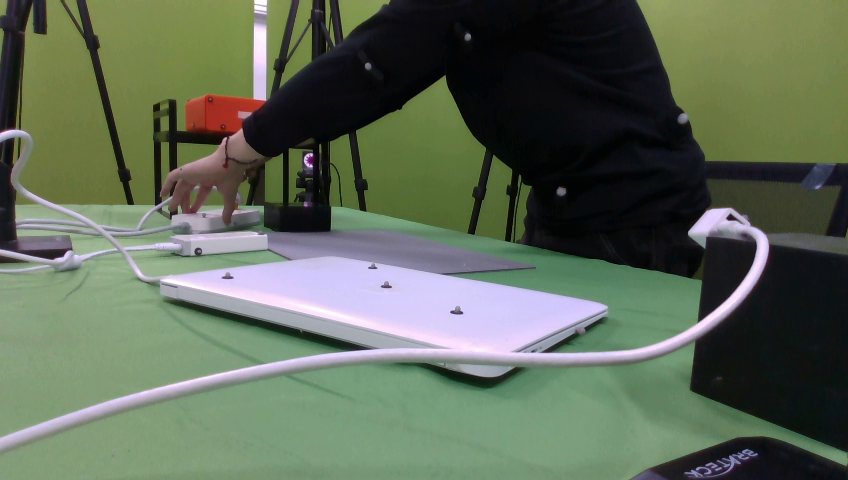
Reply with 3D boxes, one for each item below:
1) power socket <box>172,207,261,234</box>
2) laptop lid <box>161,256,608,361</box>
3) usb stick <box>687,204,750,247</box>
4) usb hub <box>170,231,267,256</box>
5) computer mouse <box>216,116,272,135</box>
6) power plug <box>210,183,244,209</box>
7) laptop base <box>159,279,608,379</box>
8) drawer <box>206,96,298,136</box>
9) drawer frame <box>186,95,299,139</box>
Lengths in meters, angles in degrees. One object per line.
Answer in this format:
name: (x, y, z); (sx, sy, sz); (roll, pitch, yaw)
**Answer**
power socket: (-0.381, -0.038, 1.129); (0.072, 0.032, 0.227); (3, 8, 11)
laptop lid: (-0.037, 0.046, 0.555); (0.355, 0.013, 0.243); (8, 8, 35)
usb stick: (0.214, -0.010, 0.448); (0.021, 0.027, 0.059); (39, 2, 6)
usb hub: (-0.290, 0.004, 0.862); (0.049, 0.025, 0.126); (11, 11, 42)
computer mouse: (-0.402, -0.257, 1.353); (0.118, 0.041, 0.062); (-6, 14, -34)
power plug: (-0.393, -0.083, 1.207); (0.072, 0.052, 0.035); (9, -5, 21)
laptop base: (-0.038, 0.058, 0.555); (0.352, 0.023, 0.237); (8, 7, 33)
drawer: (-0.413, -0.275, 1.376); (0.195, 0.073, 0.210); (-3, 8, -31)
drawer frame: (-0.417, -0.277, 1.378); (0.203, 0.082, 0.212); (-3, 8, -32)
